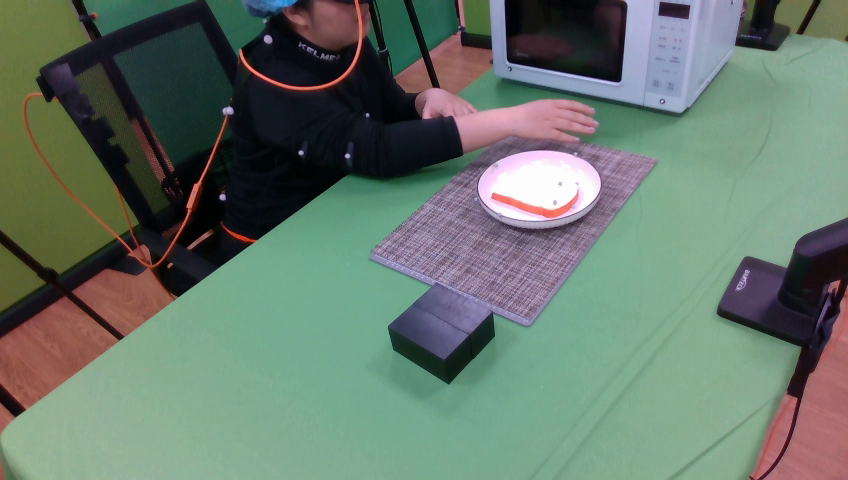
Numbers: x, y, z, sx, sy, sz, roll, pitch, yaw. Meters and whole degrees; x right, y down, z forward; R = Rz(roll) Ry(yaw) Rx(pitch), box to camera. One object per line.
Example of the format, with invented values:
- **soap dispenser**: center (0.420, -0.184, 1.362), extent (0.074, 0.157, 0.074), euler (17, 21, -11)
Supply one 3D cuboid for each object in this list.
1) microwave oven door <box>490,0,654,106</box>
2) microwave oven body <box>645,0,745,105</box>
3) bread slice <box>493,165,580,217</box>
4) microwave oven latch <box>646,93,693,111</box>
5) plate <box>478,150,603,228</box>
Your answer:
- **microwave oven door**: center (0.292, -0.420, 1.228), extent (0.353, 0.245, 0.039), euler (22, 49, 32)
- **microwave oven body**: center (0.416, -0.486, 1.290), extent (0.438, 0.261, 0.327), euler (21, 50, 33)
- **bread slice**: center (0.200, -0.084, 1.034), extent (0.130, 0.019, 0.105), euler (23, 50, 34)
- **microwave oven latch**: center (0.477, -0.273, 1.177), extent (0.078, 0.029, 0.030), euler (22, 50, 33)
- **plate**: center (0.198, -0.084, 1.030), extent (0.209, 0.038, 0.208), euler (-5, 39, 5)
